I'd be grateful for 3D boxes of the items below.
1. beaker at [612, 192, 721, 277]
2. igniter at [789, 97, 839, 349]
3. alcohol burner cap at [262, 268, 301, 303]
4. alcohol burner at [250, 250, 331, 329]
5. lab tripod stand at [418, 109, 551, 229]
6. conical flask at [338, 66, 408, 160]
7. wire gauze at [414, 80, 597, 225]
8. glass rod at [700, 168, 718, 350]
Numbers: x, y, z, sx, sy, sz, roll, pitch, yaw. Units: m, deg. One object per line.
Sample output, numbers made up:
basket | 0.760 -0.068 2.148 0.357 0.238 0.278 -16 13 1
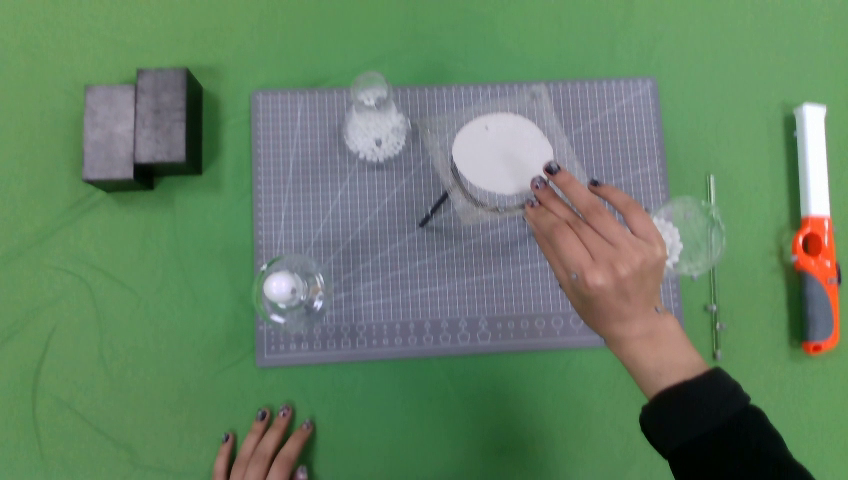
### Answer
beaker | 0.240 -0.003 0.609 0.084 0.100 0.074 -40 85 -8
igniter | 0.422 -0.020 0.659 0.057 0.025 0.275 4 82 -13
alcohol burner cap | -0.129 0.040 0.542 0.034 0.048 0.034 0 85 -6
alcohol burner | -0.131 0.046 0.577 0.078 0.119 0.077 0 81 0
lab tripod stand | 0.062 -0.059 0.591 0.148 0.131 0.148 0 84 -2
conical flask | -0.053 -0.130 0.600 0.075 0.122 0.075 0 82 -2
wire gauze | 0.067 -0.076 0.513 0.125 0.011 0.120 -15 66 -10
glass rod | 0.310 0.019 0.659 0.008 0.008 0.199 0 82 -3
